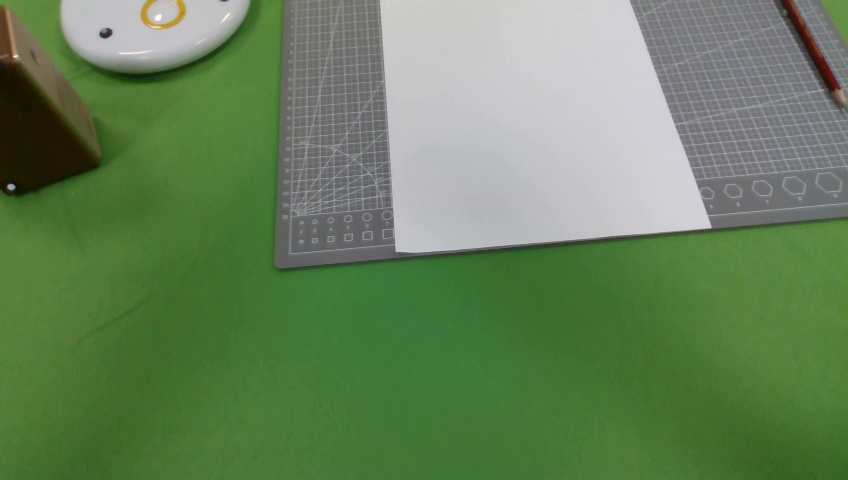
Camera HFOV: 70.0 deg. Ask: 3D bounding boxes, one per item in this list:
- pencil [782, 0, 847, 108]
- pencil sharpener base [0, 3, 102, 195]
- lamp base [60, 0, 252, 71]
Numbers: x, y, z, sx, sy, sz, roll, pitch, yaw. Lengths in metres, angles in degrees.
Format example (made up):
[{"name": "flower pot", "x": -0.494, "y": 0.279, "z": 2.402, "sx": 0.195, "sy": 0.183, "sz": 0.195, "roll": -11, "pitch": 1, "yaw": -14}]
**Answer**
[{"name": "pencil", "x": 0.304, "y": -0.180, "z": 0.491, "sx": 0.012, "sy": 0.012, "sz": 0.192, "roll": -6, "pitch": 62, "yaw": -1}, {"name": "pencil sharpener base", "x": -0.284, "y": -0.090, "z": 0.411, "sx": 0.077, "sy": 0.108, "sz": 0.061, "roll": -24, "pitch": 62, "yaw": -10}, {"name": "lamp base", "x": -0.239, "y": -0.252, "z": 0.460, "sx": 0.160, "sy": 0.182, "sz": 0.177, "roll": -33, "pitch": 62, "yaw": -15}]
